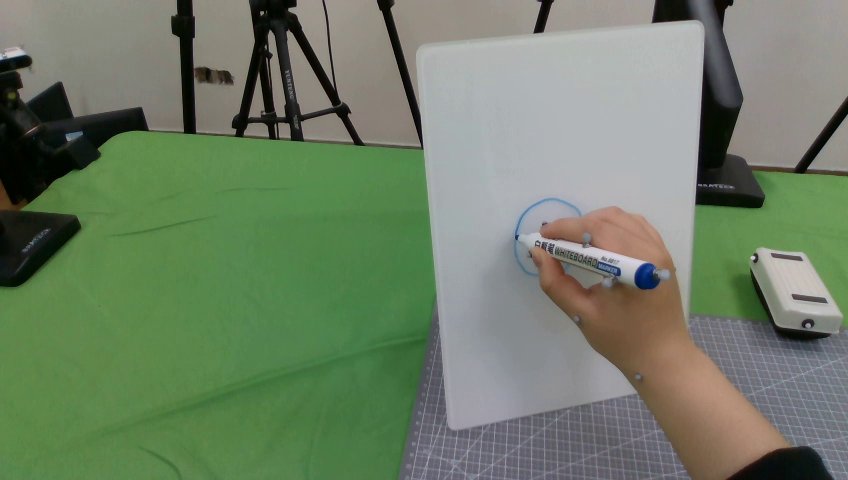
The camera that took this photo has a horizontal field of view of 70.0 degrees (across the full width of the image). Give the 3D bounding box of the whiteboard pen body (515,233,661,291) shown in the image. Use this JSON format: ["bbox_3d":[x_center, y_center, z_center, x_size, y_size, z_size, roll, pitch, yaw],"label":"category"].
[{"bbox_3d":[0.097,0.010,0.393,0.017,0.017,0.139,-17,16,-21],"label":"whiteboard pen body"}]

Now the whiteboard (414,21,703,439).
[{"bbox_3d":[0.098,-0.018,0.528,0.218,0.307,0.143,-8,18,-10],"label":"whiteboard"}]

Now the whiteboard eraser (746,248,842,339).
[{"bbox_3d":[0.365,0.053,0.605,0.055,0.042,0.112,4,33,10],"label":"whiteboard eraser"}]
